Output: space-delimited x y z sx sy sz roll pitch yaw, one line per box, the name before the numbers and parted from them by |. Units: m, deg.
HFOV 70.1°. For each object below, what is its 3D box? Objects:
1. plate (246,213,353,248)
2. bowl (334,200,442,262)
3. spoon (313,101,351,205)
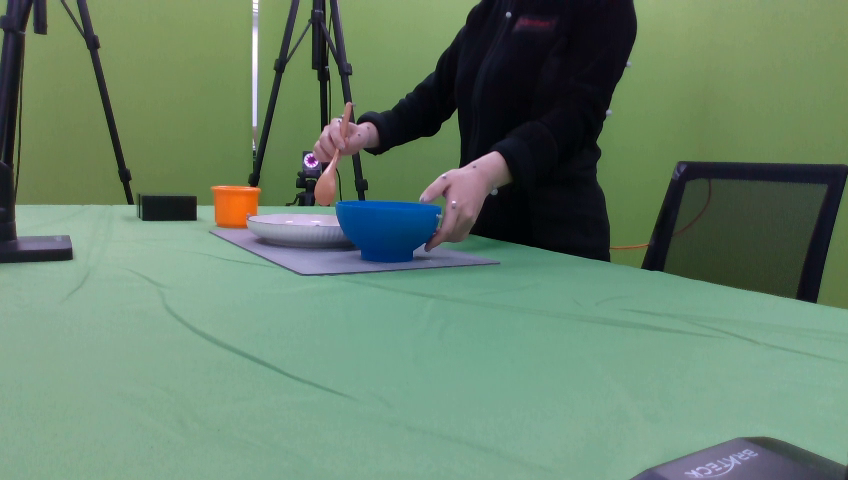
plate | -0.185 -0.017 0.994 0.209 0.038 0.209 3 8 0
bowl | -0.051 -0.013 0.847 0.151 0.077 0.151 3 7 0
spoon | -0.151 -0.150 1.029 0.041 0.193 0.022 3 -22 28
